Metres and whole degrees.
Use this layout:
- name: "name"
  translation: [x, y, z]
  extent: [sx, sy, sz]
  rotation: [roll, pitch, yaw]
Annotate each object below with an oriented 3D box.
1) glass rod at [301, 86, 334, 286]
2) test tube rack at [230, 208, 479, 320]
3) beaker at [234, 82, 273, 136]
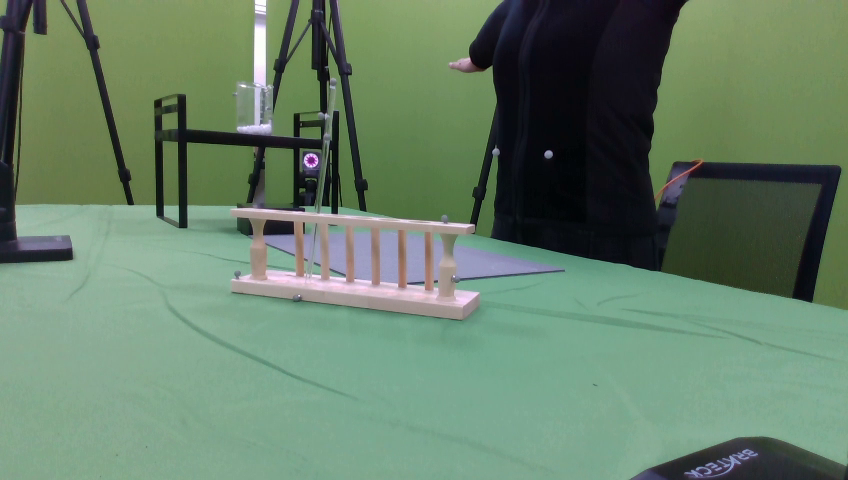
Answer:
- name: "glass rod"
  translation: [-0.104, -0.049, 0.588]
  extent: [0.008, 0.199, 0.008]
  rotation: [9, 7, -1]
- name: "test tube rack"
  translation: [-0.069, 0.017, 0.598]
  extent: [0.242, 0.085, 0.067]
  rotation: [5, 8, 18]
- name: "beaker"
  translation: [-0.338, -0.260, 1.208]
  extent: [0.083, 0.100, 0.074]
  rotation: [10, 11, 41]
